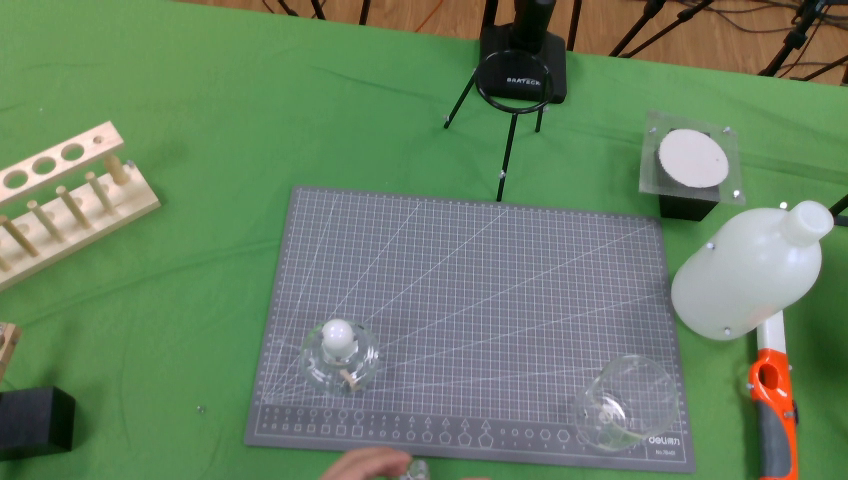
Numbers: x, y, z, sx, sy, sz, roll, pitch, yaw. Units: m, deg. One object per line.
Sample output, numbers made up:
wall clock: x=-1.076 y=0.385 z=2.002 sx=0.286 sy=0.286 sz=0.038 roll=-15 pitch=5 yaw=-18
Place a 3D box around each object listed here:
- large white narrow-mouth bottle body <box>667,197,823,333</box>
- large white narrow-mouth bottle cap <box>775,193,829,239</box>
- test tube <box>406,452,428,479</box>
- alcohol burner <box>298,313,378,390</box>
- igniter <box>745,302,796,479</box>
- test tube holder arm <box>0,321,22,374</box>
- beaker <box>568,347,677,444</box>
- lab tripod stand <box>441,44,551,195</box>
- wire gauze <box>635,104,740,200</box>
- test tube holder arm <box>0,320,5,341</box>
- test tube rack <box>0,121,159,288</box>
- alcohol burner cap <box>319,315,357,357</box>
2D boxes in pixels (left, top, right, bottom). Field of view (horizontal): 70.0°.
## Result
large white narrow-mouth bottle body: x=0.333 y=0.019 z=0.620 sx=0.102 sy=0.196 sz=0.101 roll=2 pitch=62 yaw=-3
large white narrow-mouth bottle cap: x=0.339 y=-0.022 z=0.545 sx=0.038 sy=0.024 sz=0.037 roll=2 pitch=62 yaw=-4
test tube: x=-0.004 y=0.204 z=0.480 sx=0.017 sy=0.151 sz=0.017 roll=0 pitch=49 yaw=0
alcohol burner: x=-0.082 y=0.101 z=0.579 sx=0.078 sy=0.120 sz=0.077 roll=3 pitch=61 yaw=-6
igniter: x=0.376 y=0.125 z=0.664 sx=0.057 sy=0.025 sz=0.274 roll=18 pitch=62 yaw=-10
test tube holder arm: x=-0.387 y=0.116 z=0.544 sx=0.010 sy=0.015 sz=0.087 roll=8 pitch=61 yaw=-1
beaker: x=0.183 y=0.155 z=0.586 sx=0.084 sy=0.101 sz=0.073 roll=2 pitch=62 yaw=-3
lab tripod stand: x=0.092 y=-0.148 z=0.717 sx=0.148 sy=0.132 sz=0.147 roll=3 pitch=63 yaw=-6
wire gauze: x=0.318 y=-0.106 z=0.733 sx=0.121 sy=0.011 sz=0.124 roll=12 pitch=62 yaw=1
test tube holder arm: x=-0.397 y=0.154 z=0.523 sx=0.013 sy=0.015 sz=0.177 roll=7 pitch=61 yaw=-2
test tube rack: x=-0.415 y=-0.023 z=0.629 sx=0.242 sy=0.086 sz=0.066 roll=-33 pitch=70 yaw=-20
alcohol burner cap: x=-0.079 y=0.085 z=0.547 sx=0.034 sy=0.048 sz=0.033 roll=1 pitch=67 yaw=-1
